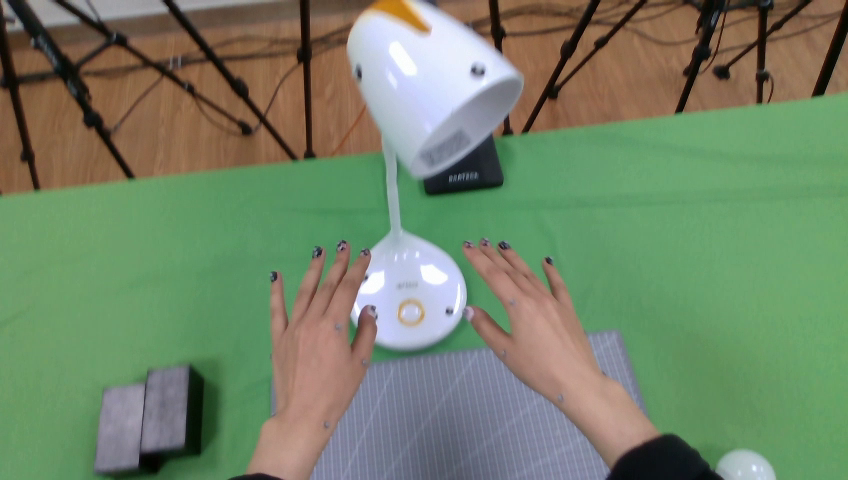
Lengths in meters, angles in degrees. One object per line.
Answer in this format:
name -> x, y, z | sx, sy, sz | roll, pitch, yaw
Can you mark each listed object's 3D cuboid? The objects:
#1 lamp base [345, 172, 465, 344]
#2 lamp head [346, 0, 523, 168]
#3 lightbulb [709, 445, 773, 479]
lamp base -> -0.031, 0.015, 0.750 | 0.161, 0.182, 0.177 | -15, 57, -7
lamp head -> -0.003, -0.132, 0.469 | 0.112, 0.113, 0.122 | -36, 74, -19
lightbulb -> 0.335, 0.274, 0.668 | 0.107, 0.060, 0.059 | -43, 67, -4
